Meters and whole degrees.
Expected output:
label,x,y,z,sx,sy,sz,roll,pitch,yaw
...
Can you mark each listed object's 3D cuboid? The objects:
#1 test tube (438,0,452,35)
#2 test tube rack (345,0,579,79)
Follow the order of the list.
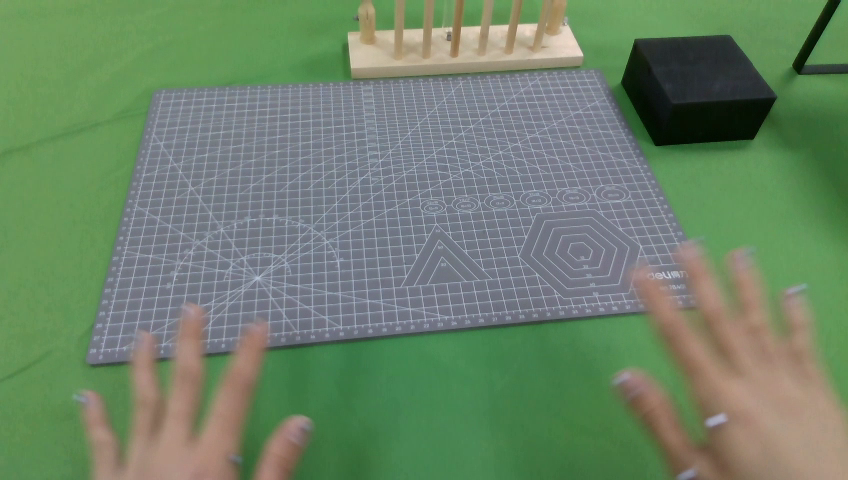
label,x,y,z,sx,sy,sz,roll,pitch,yaw
test tube,0.022,-0.270,0.589,0.017,0.151,0.017,0,48,0
test tube rack,0.040,-0.226,0.618,0.243,0.086,0.066,-5,51,-6
